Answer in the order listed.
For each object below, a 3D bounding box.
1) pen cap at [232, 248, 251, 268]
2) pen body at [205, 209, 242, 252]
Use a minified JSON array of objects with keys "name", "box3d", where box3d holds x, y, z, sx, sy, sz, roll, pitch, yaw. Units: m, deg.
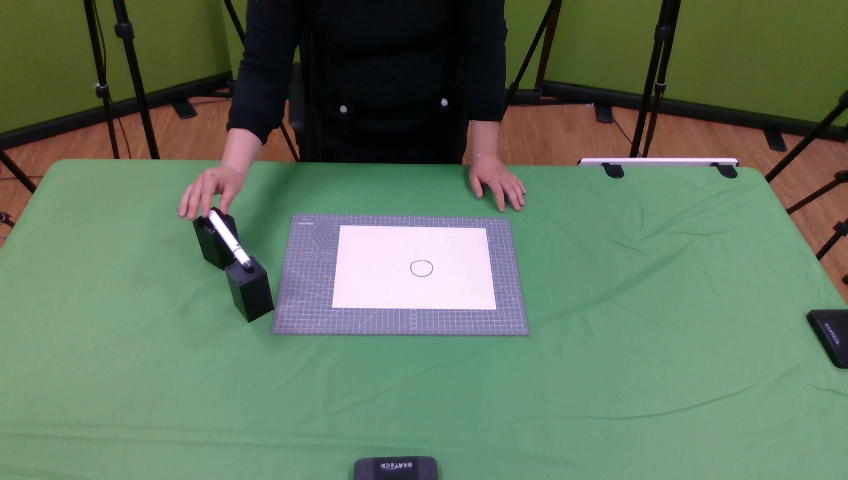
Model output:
[{"name":"pen cap","box3d":[-0.303,0.031,1.008,0.017,0.017,0.038,-28,56,-28]},{"name":"pen body","box3d":[-0.340,-0.006,1.043,0.017,0.017,0.143,-28,55,-28]}]
